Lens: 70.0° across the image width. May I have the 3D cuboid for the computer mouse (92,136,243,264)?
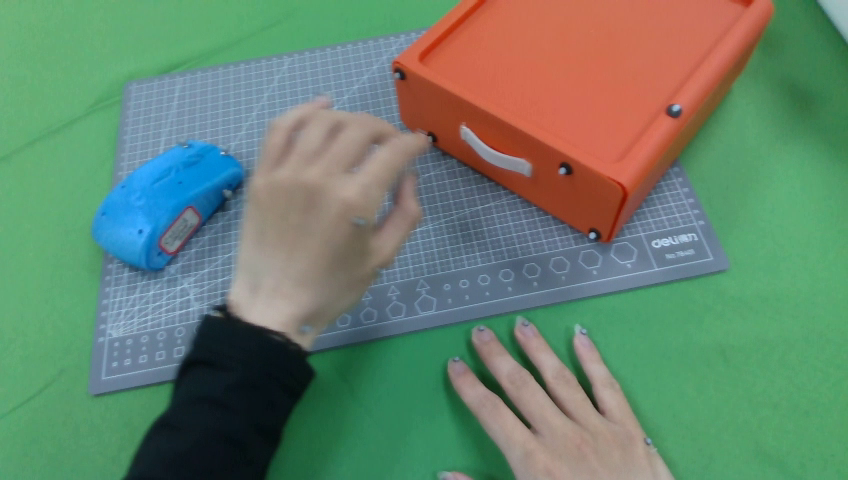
[{"bbox_3d":[-0.198,-0.037,0.468,0.062,0.041,0.117,26,61,20],"label":"computer mouse"}]

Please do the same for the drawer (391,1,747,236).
[{"bbox_3d":[0.116,-0.135,0.473,0.193,0.074,0.211,34,67,22],"label":"drawer"}]

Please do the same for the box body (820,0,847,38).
[{"bbox_3d":[0.466,-0.233,0.455,0.254,0.162,0.360,-10,60,-1],"label":"box body"}]

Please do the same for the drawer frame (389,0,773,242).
[{"bbox_3d":[0.117,-0.137,0.472,0.200,0.083,0.213,34,67,21],"label":"drawer frame"}]
